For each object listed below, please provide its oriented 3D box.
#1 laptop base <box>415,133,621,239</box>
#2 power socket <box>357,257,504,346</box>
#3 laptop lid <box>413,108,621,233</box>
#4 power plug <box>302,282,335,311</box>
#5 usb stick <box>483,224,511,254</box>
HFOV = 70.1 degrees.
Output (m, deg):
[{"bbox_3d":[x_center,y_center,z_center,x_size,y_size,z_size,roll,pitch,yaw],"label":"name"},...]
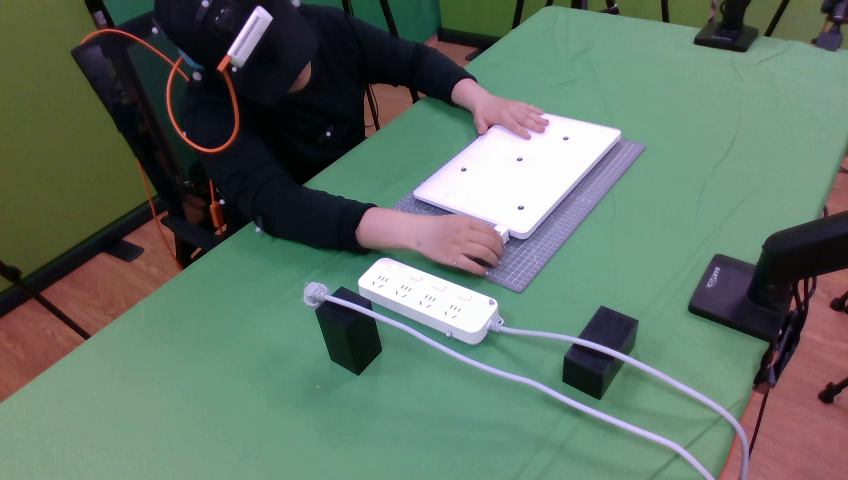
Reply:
[{"bbox_3d":[0.177,-0.134,1.101,0.233,0.023,0.355,21,48,33],"label":"laptop base"},{"bbox_3d":[0.003,0.084,0.862,0.225,0.033,0.072,20,48,28],"label":"power socket"},{"bbox_3d":[0.174,-0.143,1.095,0.239,0.013,0.358,23,49,34],"label":"laptop lid"},{"bbox_3d":[-0.133,0.082,0.783,0.035,0.053,0.072,-42,47,-7],"label":"power plug"},{"bbox_3d":[0.116,-0.005,0.938,0.021,0.027,0.059,23,42,30],"label":"usb stick"}]
